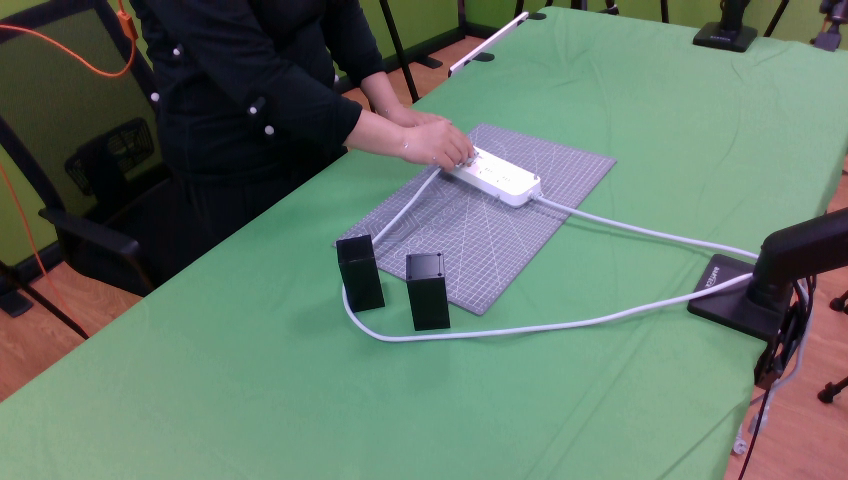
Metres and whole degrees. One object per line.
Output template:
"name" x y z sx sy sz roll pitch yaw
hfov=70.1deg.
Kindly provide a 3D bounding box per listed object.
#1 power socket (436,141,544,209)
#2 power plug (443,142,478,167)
"power socket" 0.112 -0.120 1.082 0.072 0.033 0.224 -34 47 -27
"power plug" 0.061 -0.145 1.070 0.073 0.053 0.035 -23 42 -13
